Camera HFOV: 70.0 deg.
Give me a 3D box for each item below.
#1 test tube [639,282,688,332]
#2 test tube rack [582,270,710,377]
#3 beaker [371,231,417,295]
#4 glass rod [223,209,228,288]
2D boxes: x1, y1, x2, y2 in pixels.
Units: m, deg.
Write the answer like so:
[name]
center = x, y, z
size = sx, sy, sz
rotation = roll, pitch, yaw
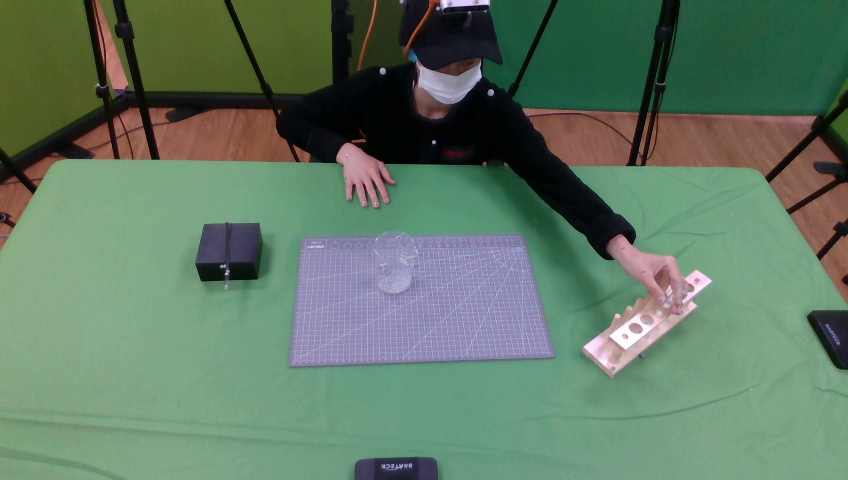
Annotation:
[test tube]
center = 0.392, 0.115, 1.001
size = 0.017, 0.151, 0.017
rotation = 5, 54, -7
[test tube rack]
center = 0.389, 0.132, 1.057
size = 0.242, 0.085, 0.066
rotation = -28, 54, -28
[beaker]
center = -0.054, 0.045, 1.093
size = 0.084, 0.101, 0.073
rotation = 17, 47, 10
[glass rod]
center = -0.360, 0.011, 1.098
size = 0.008, 0.008, 0.198
rotation = -7, 47, -12
